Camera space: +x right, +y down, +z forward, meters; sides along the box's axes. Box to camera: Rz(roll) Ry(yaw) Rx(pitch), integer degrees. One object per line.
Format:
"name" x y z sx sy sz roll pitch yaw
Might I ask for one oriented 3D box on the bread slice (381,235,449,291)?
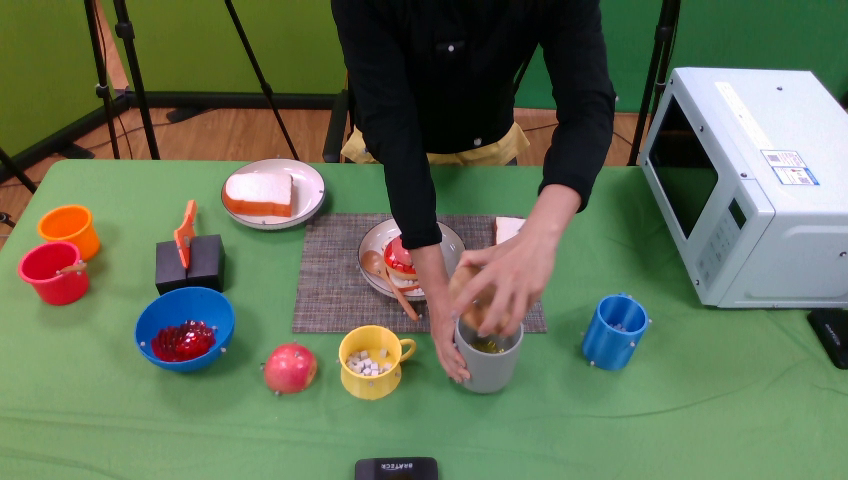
"bread slice" -0.026 0.039 1.140 0.107 0.018 0.133 -12 48 -15

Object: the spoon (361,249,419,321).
"spoon" -0.060 0.078 1.077 0.041 0.022 0.192 -22 43 -19

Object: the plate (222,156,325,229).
"plate" -0.307 -0.095 1.251 0.209 0.038 0.208 2 47 -2

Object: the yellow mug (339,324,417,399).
"yellow mug" -0.071 0.190 0.978 0.131 0.064 0.099 -18 50 -20

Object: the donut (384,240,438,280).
"donut" -0.024 0.030 1.110 0.099 0.048 0.098 2 47 -2

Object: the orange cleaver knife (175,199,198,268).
"orange cleaver knife" -0.438 -0.017 1.138 0.012 0.077 0.210 -14 27 -7

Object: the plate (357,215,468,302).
"plate" -0.021 0.037 1.141 0.208 0.039 0.206 2 46 -2

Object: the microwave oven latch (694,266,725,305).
"microwave oven latch" 0.524 0.082 1.115 0.030 0.029 0.078 3 46 0

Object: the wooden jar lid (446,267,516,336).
"wooden jar lid" 0.076 0.086 0.831 0.109 0.021 0.107 19 46 -21

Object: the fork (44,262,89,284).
"fork" -0.598 0.053 1.014 0.207 0.019 0.028 -14 29 45

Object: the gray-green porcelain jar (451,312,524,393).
"gray-green porcelain jar" 0.097 0.174 0.964 0.106 0.127 0.105 2 46 -2

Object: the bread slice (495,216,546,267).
"bread slice" 0.194 0.002 1.204 0.105 0.019 0.131 5 45 2

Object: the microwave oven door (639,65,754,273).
"microwave oven door" 0.522 -0.147 1.192 0.039 0.245 0.353 1 47 -3

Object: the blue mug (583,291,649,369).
"blue mug" 0.324 0.142 1.024 0.082 0.106 0.116 15 47 11

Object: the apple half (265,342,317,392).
"apple half" -0.214 0.198 0.970 0.074 0.053 0.080 19 48 11

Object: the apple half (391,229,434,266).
"apple half" -0.021 0.005 1.084 0.081 0.033 0.081 7 49 -8

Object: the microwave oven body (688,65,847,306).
"microwave oven body" 0.669 -0.111 1.176 0.326 0.261 0.439 0 46 -3

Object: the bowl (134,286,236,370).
"bowl" -0.376 0.156 0.981 0.151 0.077 0.150 2 46 -2
